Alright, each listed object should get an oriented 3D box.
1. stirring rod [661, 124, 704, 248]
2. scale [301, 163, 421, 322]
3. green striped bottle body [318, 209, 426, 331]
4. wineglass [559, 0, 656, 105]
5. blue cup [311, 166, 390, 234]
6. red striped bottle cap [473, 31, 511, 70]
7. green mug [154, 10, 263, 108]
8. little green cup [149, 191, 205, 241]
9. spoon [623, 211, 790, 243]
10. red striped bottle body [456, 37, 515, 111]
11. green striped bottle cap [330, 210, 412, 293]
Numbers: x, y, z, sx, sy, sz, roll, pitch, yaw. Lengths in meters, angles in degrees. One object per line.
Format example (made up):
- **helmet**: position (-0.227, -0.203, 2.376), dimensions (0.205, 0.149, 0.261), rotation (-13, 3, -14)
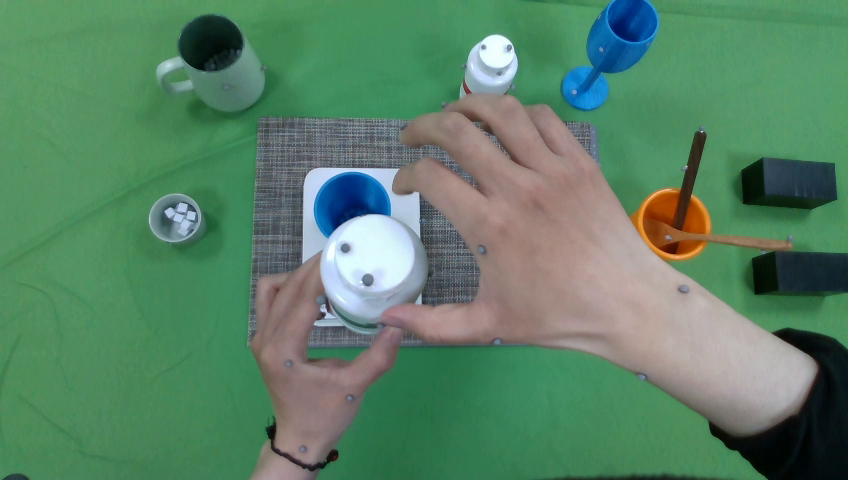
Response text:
- **stirring rod**: position (0.318, -0.062, 0.749), dimensions (0.014, 0.178, 0.006), rotation (6, 38, 10)
- **scale**: position (-0.080, 0.001, 0.764), dimensions (0.149, 0.031, 0.200), rotation (-1, 80, -4)
- **green striped bottle body**: position (-0.033, 0.020, 0.381), dimensions (0.063, 0.119, 0.063), rotation (2, 75, -6)
- **wineglass**: position (0.225, -0.237, 0.763), dimensions (0.074, 0.172, 0.073), rotation (1, 78, -3)
- **blue cup**: position (-0.082, -0.031, 0.703), dimensions (0.093, 0.100, 0.092), rotation (1, 81, -4)
- **red striped bottle cap**: position (0.082, -0.227, 0.723), dimensions (0.044, 0.018, 0.044), rotation (1, 76, -3)
- **green mug**: position (-0.272, -0.218, 0.759), dimensions (0.125, 0.105, 0.092), rotation (-22, 81, -7)
- **little green cup**: position (-0.304, -0.027, 0.753), dimensions (0.061, 0.039, 0.061), rotation (1, 79, -5)
- **spoon**: position (0.337, -0.010, 0.740), dimensions (0.022, 0.192, 0.041), rotation (18, 83, -44)
- **red striped bottle body**: position (0.079, -0.217, 0.776), dimensions (0.063, 0.120, 0.063), rotation (1, 79, -4)
- **green striped bottle cap**: position (-0.028, 0.006, 0.327), dimensions (0.044, 0.020, 0.044), rotation (3, 75, -9)
